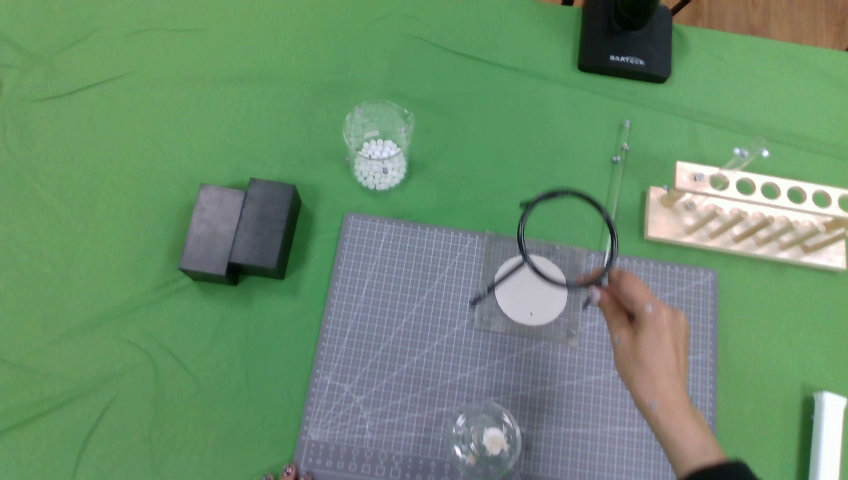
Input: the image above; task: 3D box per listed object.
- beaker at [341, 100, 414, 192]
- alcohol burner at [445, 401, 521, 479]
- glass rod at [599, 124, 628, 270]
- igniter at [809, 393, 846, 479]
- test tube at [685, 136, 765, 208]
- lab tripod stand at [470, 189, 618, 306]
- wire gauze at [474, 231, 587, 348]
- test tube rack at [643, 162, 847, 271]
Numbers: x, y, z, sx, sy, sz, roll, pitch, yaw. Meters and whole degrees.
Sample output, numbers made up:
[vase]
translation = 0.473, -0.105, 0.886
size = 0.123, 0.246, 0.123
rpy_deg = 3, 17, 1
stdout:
[beaker]
translation = -0.051, -0.105, 0.697
size = 0.084, 0.101, 0.073
rpy_deg = -28, 76, -12
[alcohol burner]
translation = 0.061, 0.198, 0.600
size = 0.078, 0.119, 0.077
rpy_deg = 2, 71, -4
[glass rod]
translation = 0.233, -0.055, 0.744
size = 0.008, 0.008, 0.199
rpy_deg = 14, 74, 1
[igniter]
translation = 0.417, 0.300, 0.637
size = 0.057, 0.025, 0.275
rpy_deg = 19, 73, -8
[test tube]
translation = 0.325, -0.070, 0.663
size = 0.017, 0.151, 0.017
rpy_deg = 1, 69, -2
[lab tripod stand]
translation = 0.115, 0.011, 0.581
size = 0.148, 0.132, 0.147
rpy_deg = 2, 73, -6
[wire gauze]
translation = 0.124, 0.054, 0.703
size = 0.125, 0.011, 0.121
rpy_deg = 11, 72, 1
[test tube rack]
translation = 0.392, -0.025, 0.705
size = 0.242, 0.085, 0.066
rpy_deg = 9, 72, 0
